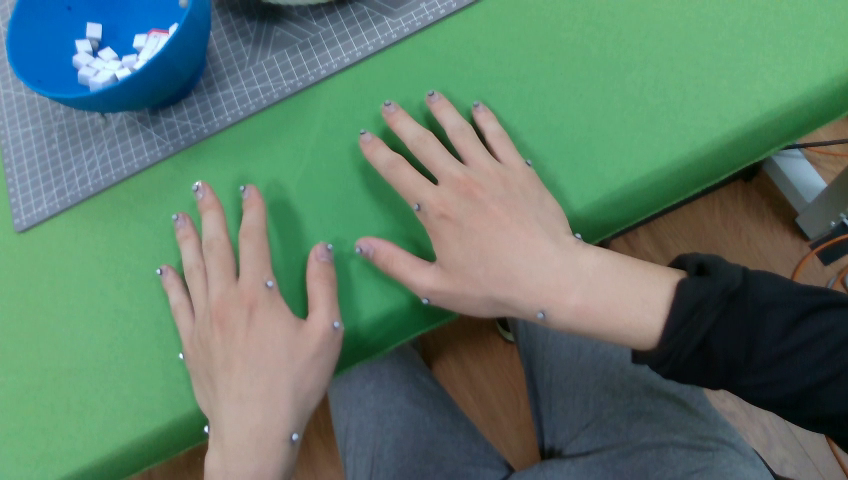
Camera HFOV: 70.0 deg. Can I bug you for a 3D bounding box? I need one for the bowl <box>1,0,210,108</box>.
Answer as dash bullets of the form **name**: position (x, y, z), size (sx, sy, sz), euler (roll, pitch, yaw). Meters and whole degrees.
- **bowl**: position (-0.219, -0.155, 0.454), size (0.151, 0.077, 0.150), euler (-4, 72, 11)
